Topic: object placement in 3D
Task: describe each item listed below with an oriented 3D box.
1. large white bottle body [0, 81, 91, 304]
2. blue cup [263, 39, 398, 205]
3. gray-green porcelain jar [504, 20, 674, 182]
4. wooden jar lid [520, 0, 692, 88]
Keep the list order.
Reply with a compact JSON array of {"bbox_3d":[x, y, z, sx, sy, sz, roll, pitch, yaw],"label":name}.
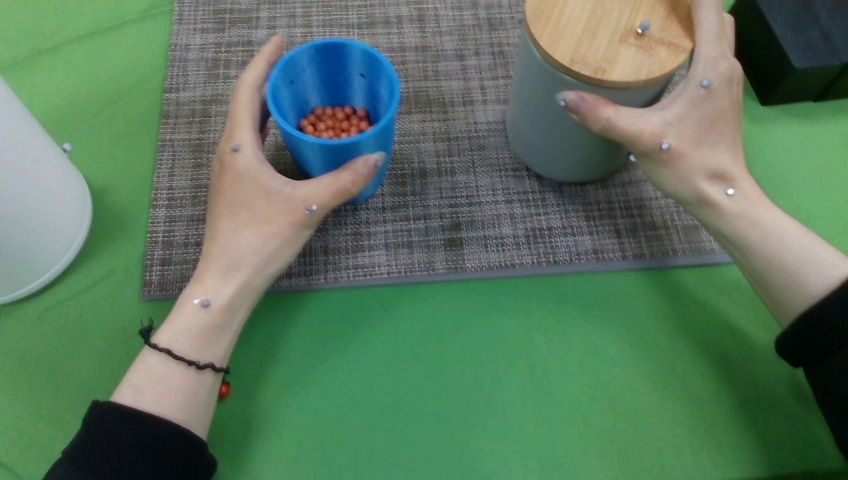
[{"bbox_3d":[-0.303,-0.049,0.360,0.131,0.186,0.129,2,64,-3],"label":"large white bottle body"},{"bbox_3d":[-0.061,-0.074,0.430,0.093,0.101,0.092,1,65,-2],"label":"blue cup"},{"bbox_3d":[0.115,-0.111,0.443,0.106,0.127,0.105,0,65,0],"label":"gray-green porcelain jar"},{"bbox_3d":[0.114,-0.138,0.387,0.108,0.021,0.107,1,64,-2],"label":"wooden jar lid"}]
